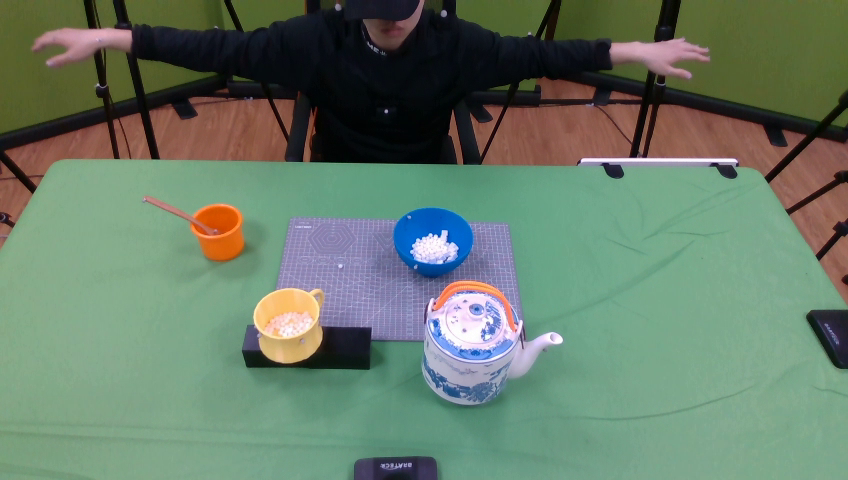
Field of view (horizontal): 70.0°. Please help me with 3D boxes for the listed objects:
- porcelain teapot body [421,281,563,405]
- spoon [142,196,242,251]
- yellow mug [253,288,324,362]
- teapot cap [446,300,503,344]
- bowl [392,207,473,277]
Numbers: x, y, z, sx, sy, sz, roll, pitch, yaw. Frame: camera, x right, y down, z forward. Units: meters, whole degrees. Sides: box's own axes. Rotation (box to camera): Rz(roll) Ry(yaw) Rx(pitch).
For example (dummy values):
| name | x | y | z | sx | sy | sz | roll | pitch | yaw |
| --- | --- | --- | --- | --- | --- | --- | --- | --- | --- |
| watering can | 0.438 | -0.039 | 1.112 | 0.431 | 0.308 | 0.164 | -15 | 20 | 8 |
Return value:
| name | x | y | z | sx | sy | sz | roll | pitch | yaw |
| --- | --- | --- | --- | --- | --- | --- | --- | --- | --- |
| porcelain teapot body | 0.101 | 0.148 | 0.923 | 0.205 | 0.226 | 0.144 | 12 | 46 | 7 |
| spoon | -0.421 | -0.032 | 1.108 | 0.021 | 0.195 | 0.041 | -32 | 40 | 28 |
| yellow mug | -0.205 | 0.124 | 0.963 | 0.099 | 0.064 | 0.130 | 27 | 49 | 21 |
| teapot cap | 0.076 | 0.115 | 0.898 | 0.085 | 0.044 | 0.084 | 4 | 45 | -4 |
| bowl | 0.014 | 0.016 | 1.140 | 0.151 | 0.077 | 0.150 | 2 | 46 | -2 |
